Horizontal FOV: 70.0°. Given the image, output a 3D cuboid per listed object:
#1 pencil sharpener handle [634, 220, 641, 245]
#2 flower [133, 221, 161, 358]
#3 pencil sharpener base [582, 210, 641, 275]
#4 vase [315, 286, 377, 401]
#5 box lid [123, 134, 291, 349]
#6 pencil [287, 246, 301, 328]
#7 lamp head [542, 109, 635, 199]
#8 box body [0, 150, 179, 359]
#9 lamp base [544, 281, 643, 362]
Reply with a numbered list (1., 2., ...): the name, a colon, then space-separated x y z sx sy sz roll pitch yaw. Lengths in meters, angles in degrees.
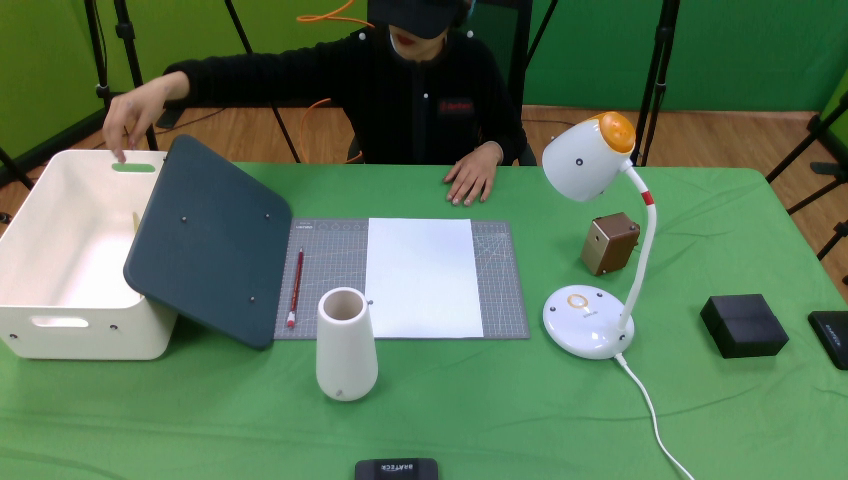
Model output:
1. pencil sharpener handle: 0.405 -0.015 1.161 0.031 0.068 0.035 -15 43 -17
2. flower: -0.509 0.071 1.092 0.044 0.038 0.359 -44 45 11
3. pencil sharpener base: 0.357 0.005 1.156 0.077 0.107 0.061 -15 48 -18
4. vase: -0.119 0.159 0.911 0.098 0.201 0.097 2 47 -2
5. box lid: -0.355 -0.008 1.060 0.015 0.265 0.369 -33 39 26
6. pencil: -0.236 0.080 1.106 0.012 0.012 0.193 0 45 -4
7. lamp head: 0.253 -0.131 0.893 0.113 0.123 0.112 10 66 -24
8. box body: -0.541 0.020 1.042 0.254 0.161 0.361 1 46 -3
9. lamp base: 0.303 0.095 1.014 0.161 0.181 0.178 -24 54 -24
